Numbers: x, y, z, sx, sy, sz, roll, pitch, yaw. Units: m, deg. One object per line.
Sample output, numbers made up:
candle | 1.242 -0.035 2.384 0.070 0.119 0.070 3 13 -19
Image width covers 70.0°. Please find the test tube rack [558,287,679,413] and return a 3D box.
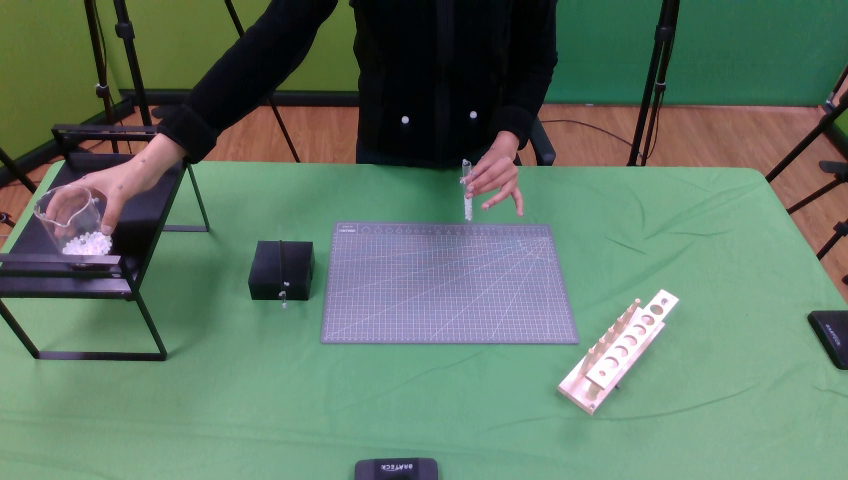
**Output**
test tube rack | 0.326 0.170 1.009 0.066 0.085 0.242 36 54 26

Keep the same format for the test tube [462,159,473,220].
test tube | 0.077 -0.084 1.065 0.017 0.151 0.017 -3 53 4

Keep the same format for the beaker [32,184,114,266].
beaker | -0.494 -0.016 0.862 0.074 0.101 0.083 -18 49 -16

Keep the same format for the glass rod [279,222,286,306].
glass rod | -0.254 0.039 1.081 0.008 0.008 0.198 -6 47 -9
